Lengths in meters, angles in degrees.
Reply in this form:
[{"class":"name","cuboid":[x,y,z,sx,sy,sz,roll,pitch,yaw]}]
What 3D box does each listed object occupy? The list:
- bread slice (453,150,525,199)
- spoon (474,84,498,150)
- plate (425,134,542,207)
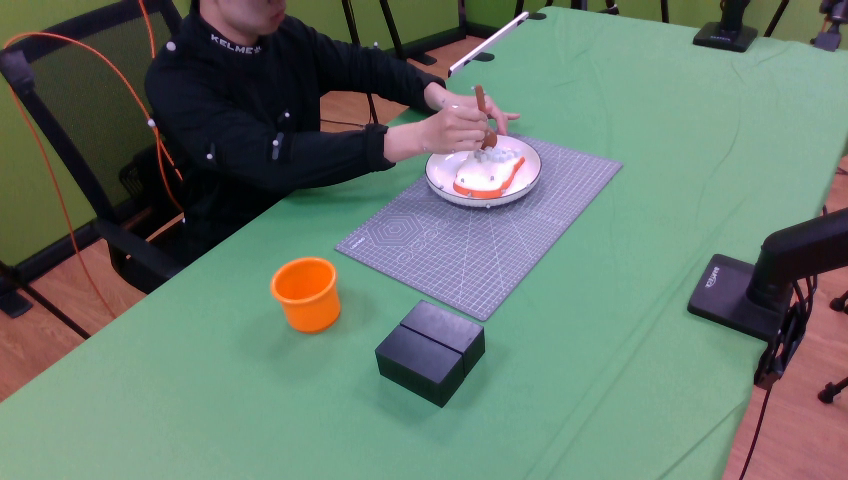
[{"class":"bread slice","cuboid":[0.112,-0.119,1.079,0.104,0.019,0.131,11,43,21]},{"class":"spoon","cuboid":[0.103,-0.206,1.033,0.041,0.194,0.021,-8,71,8]},{"class":"plate","cuboid":[0.106,-0.121,1.079,0.209,0.038,0.208,-4,40,4]}]
